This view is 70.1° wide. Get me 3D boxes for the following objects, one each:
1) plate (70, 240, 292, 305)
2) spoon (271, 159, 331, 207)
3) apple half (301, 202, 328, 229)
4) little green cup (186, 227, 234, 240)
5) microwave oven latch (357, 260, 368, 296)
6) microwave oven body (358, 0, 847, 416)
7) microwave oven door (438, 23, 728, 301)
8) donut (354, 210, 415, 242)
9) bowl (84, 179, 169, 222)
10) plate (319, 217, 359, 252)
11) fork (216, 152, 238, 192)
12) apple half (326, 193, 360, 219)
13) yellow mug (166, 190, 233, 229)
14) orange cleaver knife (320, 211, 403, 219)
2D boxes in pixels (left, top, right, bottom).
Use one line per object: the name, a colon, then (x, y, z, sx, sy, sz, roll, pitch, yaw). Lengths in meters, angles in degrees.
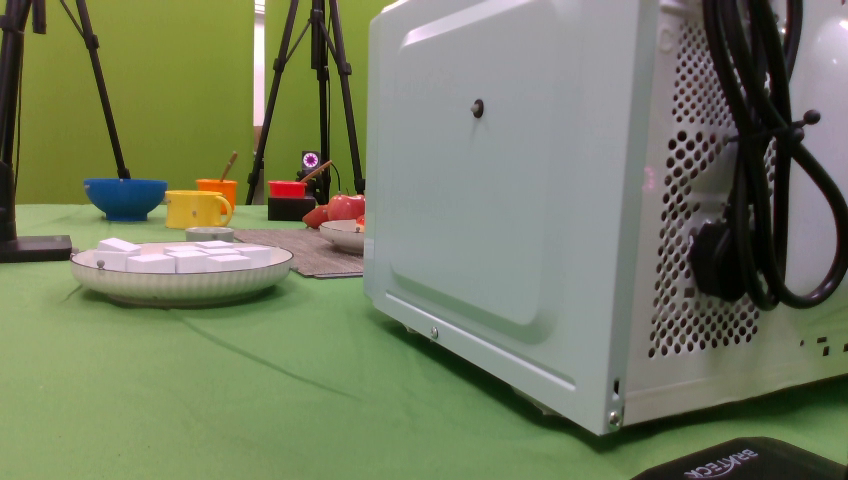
plate: (-0.242, 0.031, 0.618, 0.208, 0.039, 0.207, 2, 8, 0)
spoon: (-0.308, -0.142, 1.514, 0.193, 0.021, 0.041, -41, 3, 8)
apple half: (-0.195, -0.043, 1.172, 0.081, 0.032, 0.081, -22, -16, -6)
little green cup: (-0.284, 0.005, 0.805, 0.061, 0.038, 0.061, 2, 8, 0)
microwave oven latch: (-0.020, 0.033, 0.532, 0.079, 0.029, 0.030, -1, 8, -29)
microwave oven body: (0.211, -0.047, 0.475, 0.444, 0.260, 0.324, -1, 8, -28)
microwave oven door: (0.181, -0.073, 0.621, 0.358, 0.243, 0.039, -2, 8, -29)
donut: (-0.062, -0.020, 0.955, 0.099, 0.048, 0.099, 4, 7, 0)
bowl: (-0.584, -0.078, 1.194, 0.151, 0.077, 0.151, 3, 8, 0)
plate: (-0.059, -0.007, 0.939, 0.209, 0.038, 0.209, 3, 8, 0)
fork: (-0.455, -0.132, 1.367, 0.028, 0.018, 0.207, -2, -35, -37)
apple half: (-0.135, -0.047, 1.090, 0.081, 0.074, 0.053, 5, 10, -12)
yellow mug: (-0.415, -0.057, 1.132, 0.130, 0.064, 0.100, 6, 8, 16)
orange cleaver knife: (-0.142, -0.057, 1.395, 0.077, 0.012, 0.212, 3, 7, 44)
